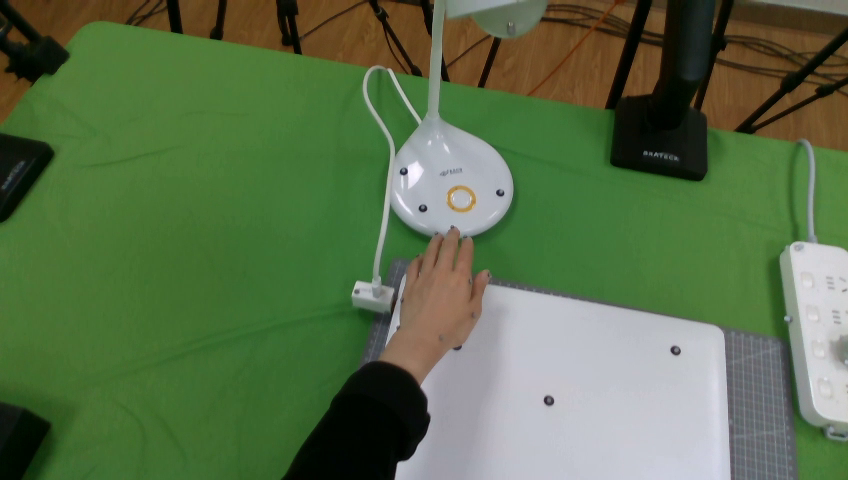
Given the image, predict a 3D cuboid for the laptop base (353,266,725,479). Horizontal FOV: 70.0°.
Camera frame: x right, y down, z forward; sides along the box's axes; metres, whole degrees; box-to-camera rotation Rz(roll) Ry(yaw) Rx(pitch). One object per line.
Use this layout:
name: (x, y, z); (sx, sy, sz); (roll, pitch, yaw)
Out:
laptop base: (0.124, 0.159, 0.623); (0.354, 0.023, 0.234); (9, 62, 5)

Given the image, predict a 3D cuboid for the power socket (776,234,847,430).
power socket: (0.435, 0.090, 0.660); (0.072, 0.033, 0.225); (10, 59, 3)

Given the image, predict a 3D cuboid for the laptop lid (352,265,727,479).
laptop lid: (0.123, 0.154, 0.611); (0.356, 0.013, 0.240); (11, 62, 6)

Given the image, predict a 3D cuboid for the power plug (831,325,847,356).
power plug: (0.458, 0.110, 0.622); (0.072, 0.053, 0.035); (19, 60, 9)

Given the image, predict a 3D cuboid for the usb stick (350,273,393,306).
usb stick: (-0.051, 0.056, 0.666); (0.059, 0.027, 0.021); (13, 54, 3)

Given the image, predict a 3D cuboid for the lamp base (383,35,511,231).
lamp base: (0.023, -0.129, 0.700); (0.161, 0.182, 0.177); (-23, 59, -14)

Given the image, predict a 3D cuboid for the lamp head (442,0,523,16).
lamp head: (0.057, -0.232, 0.436); (0.112, 0.111, 0.123); (-16, 104, -10)
